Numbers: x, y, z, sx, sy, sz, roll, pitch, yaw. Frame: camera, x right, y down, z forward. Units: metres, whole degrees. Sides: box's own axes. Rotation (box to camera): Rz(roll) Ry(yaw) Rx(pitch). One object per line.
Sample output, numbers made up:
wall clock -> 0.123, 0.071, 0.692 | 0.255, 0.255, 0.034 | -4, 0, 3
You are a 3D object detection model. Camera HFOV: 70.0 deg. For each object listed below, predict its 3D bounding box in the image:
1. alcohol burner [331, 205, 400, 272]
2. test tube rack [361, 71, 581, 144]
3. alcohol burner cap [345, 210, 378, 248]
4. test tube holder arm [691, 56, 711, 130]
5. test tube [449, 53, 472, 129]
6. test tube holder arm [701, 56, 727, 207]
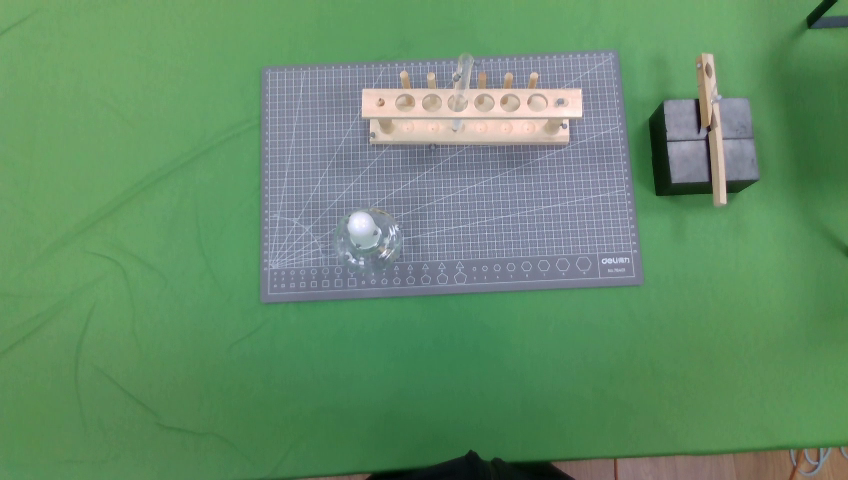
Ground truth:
alcohol burner -> -0.066, -0.005, 0.667 | 0.078, 0.119, 0.077 | 0, 77, -1
test tube rack -> 0.052, -0.159, 0.710 | 0.242, 0.085, 0.066 | 0, 79, 1
alcohol burner cap -> -0.067, -0.013, 0.632 | 0.034, 0.048, 0.033 | -1, 72, 3
test tube holder arm -> 0.320, -0.169, 0.697 | 0.010, 0.015, 0.087 | -1, 79, -7
test tube -> 0.039, -0.157, 0.658 | 0.017, 0.151, 0.017 | 0, 76, -1
test tube holder arm -> 0.328, -0.125, 0.690 | 0.013, 0.015, 0.177 | -2, 80, -7
